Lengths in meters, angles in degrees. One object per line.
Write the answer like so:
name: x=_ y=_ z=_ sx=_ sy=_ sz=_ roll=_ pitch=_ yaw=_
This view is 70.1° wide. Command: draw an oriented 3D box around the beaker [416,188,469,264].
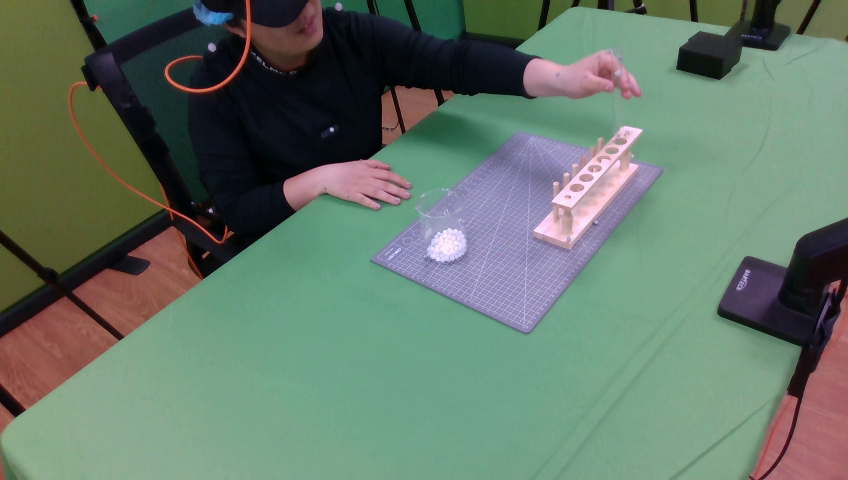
beaker: x=0.032 y=-0.021 z=0.937 sx=0.073 sy=0.101 sz=0.084 roll=9 pitch=42 yaw=20

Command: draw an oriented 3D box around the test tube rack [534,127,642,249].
test tube rack: x=0.271 y=-0.094 z=0.990 sx=0.066 sy=0.085 sz=0.243 roll=23 pitch=49 yaw=33

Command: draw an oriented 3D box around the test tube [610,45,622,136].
test tube: x=0.301 y=-0.230 z=0.946 sx=0.017 sy=0.151 sz=0.017 roll=-10 pitch=37 yaw=8
